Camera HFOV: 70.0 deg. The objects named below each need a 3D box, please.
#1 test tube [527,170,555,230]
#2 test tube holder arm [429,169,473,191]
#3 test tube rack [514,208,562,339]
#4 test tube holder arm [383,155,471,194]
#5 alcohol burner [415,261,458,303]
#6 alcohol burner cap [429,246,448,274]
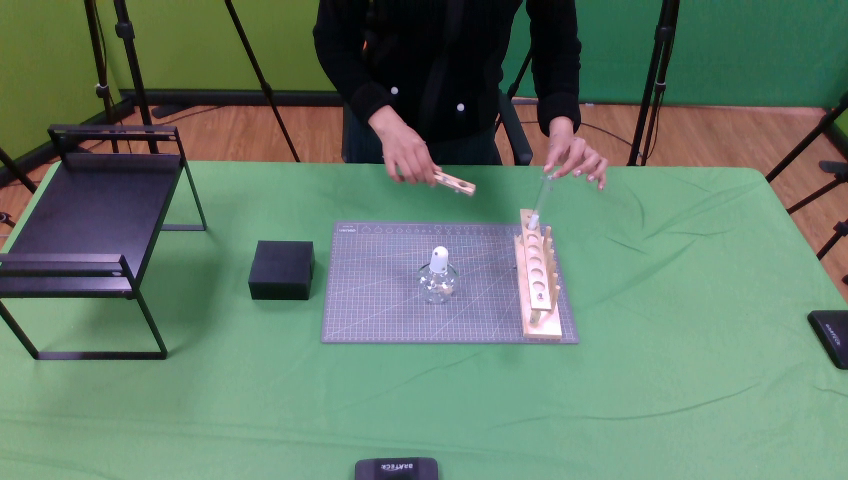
[{"bbox_3d":[0.209,-0.066,1.089,0.017,0.151,0.017,4,49,-4],"label":"test tube"},{"bbox_3d":[0.047,-0.109,1.102,0.087,0.015,0.010,22,64,15],"label":"test tube holder arm"},{"bbox_3d":[0.212,0.056,1.113,0.067,0.085,0.241,3,46,-1],"label":"test tube rack"},{"bbox_3d":[0.004,-0.121,1.111,0.178,0.015,0.013,21,64,14],"label":"test tube holder arm"},{"bbox_3d":[0.024,0.057,1.078,0.078,0.119,0.077,3,44,-2],"label":"alcohol burner"},{"bbox_3d":[0.027,0.032,1.052,0.034,0.048,0.033,4,41,-3],"label":"alcohol burner cap"}]
